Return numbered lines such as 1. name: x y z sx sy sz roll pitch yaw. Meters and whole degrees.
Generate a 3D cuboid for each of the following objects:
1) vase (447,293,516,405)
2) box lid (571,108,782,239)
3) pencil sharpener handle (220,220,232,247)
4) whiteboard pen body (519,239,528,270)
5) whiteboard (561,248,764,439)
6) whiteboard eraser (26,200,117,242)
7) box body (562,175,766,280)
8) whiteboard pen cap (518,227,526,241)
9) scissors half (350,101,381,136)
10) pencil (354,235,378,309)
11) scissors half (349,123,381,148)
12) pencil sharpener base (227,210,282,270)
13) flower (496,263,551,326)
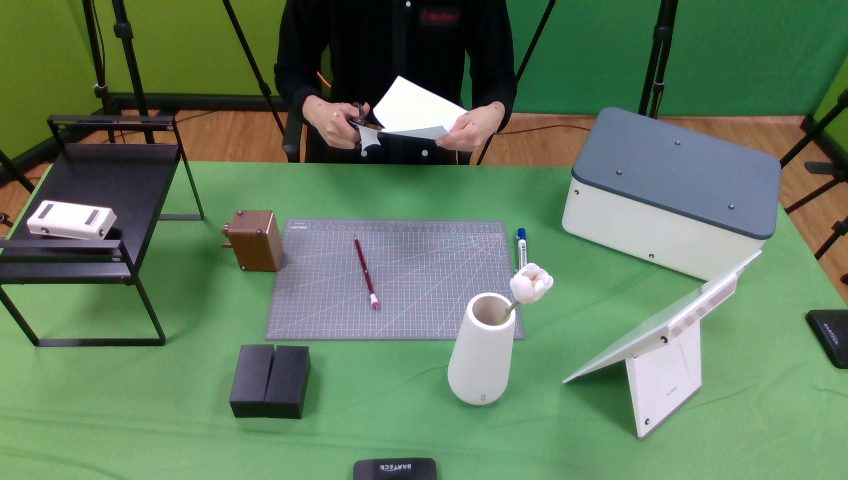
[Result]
1. vase: 0.091 0.169 0.921 0.098 0.201 0.097 3 47 -3
2. box lid: 0.491 -0.139 1.168 0.370 0.015 0.262 21 49 15
3. pencil sharpener handle: -0.362 -0.009 1.105 0.030 0.068 0.036 1 52 1
4. whiteboard pen body: 0.193 0.035 1.180 0.017 0.017 0.140 6 48 1
5. whiteboard: 0.386 0.176 0.905 0.217 0.306 0.143 -26 72 -27
6. whiteboard eraser: -0.532 -0.026 0.919 0.113 0.042 0.055 7 45 3
7. box body: 0.486 -0.088 1.222 0.363 0.161 0.253 20 48 15
8. whiteboard pen cap: 0.197 -0.009 1.220 0.018 0.018 0.033 5 51 1
9. scissors half: -0.101 -0.206 1.045 0.013 0.040 0.174 -4 28 -21
10. pencil: -0.112 0.055 1.143 0.012 0.012 0.192 -10 46 -13
11. scissors half: -0.102 -0.185 1.050 0.013 0.040 0.174 1 2 -22
12. pencil sharpener base: -0.311 0.001 1.112 0.077 0.107 0.061 1 47 1
13. flower: 0.102 0.121 0.853 0.044 0.363 0.038 -2 64 -10
